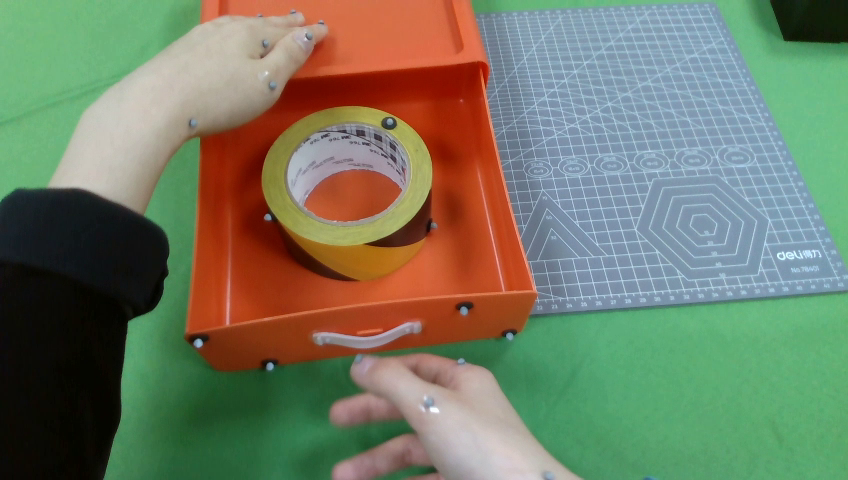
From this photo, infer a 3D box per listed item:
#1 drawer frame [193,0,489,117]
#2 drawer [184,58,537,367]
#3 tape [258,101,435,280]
[{"bbox_3d":[-0.068,-0.180,0.485,0.202,0.083,0.211,-7,59,-5],"label":"drawer frame"},{"bbox_3d":[-0.046,-0.032,0.404,0.195,0.074,0.209,-7,61,-4],"label":"drawer"},{"bbox_3d":[-0.049,-0.034,0.412,0.117,0.053,0.116,1,62,-1],"label":"tape"}]
